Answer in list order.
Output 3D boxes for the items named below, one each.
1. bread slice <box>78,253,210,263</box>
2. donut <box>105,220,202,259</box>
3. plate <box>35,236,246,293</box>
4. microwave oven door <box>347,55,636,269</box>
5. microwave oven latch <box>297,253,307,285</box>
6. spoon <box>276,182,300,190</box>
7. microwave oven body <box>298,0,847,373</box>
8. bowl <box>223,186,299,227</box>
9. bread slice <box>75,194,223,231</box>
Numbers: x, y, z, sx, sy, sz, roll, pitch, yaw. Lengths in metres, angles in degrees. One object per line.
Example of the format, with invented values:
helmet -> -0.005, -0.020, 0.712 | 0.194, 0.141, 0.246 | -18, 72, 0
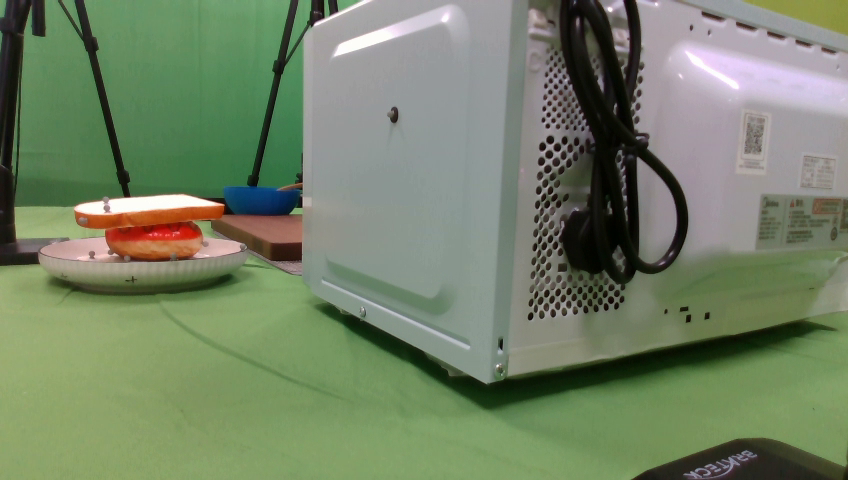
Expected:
bread slice -> -0.302, 0.027, 0.662 | 0.132, 0.019, 0.104 | -4, 8, -45
donut -> -0.298, -0.002, 0.670 | 0.099, 0.048, 0.099 | 4, -2, 0
plate -> -0.305, 0.026, 0.668 | 0.208, 0.039, 0.207 | 2, 7, 0
microwave oven door -> 0.088, -0.087, 0.738 | 0.357, 0.243, 0.039 | 1, 8, -14
microwave oven latch -> -0.081, 0.027, 0.582 | 0.079, 0.029, 0.030 | -1, 7, -32
spoon -> -0.301, -0.102, 1.267 | 0.194, 0.021, 0.041 | -23, 8, -23
microwave oven body -> 0.151, -0.055, 0.542 | 0.444, 0.260, 0.324 | -2, 7, -33
bowl -> -0.331, -0.068, 1.231 | 0.151, 0.077, 0.151 | 3, 7, 0
bread slice -> -0.301, -0.032, 0.659 | 0.106, 0.018, 0.135 | 10, 17, 41
